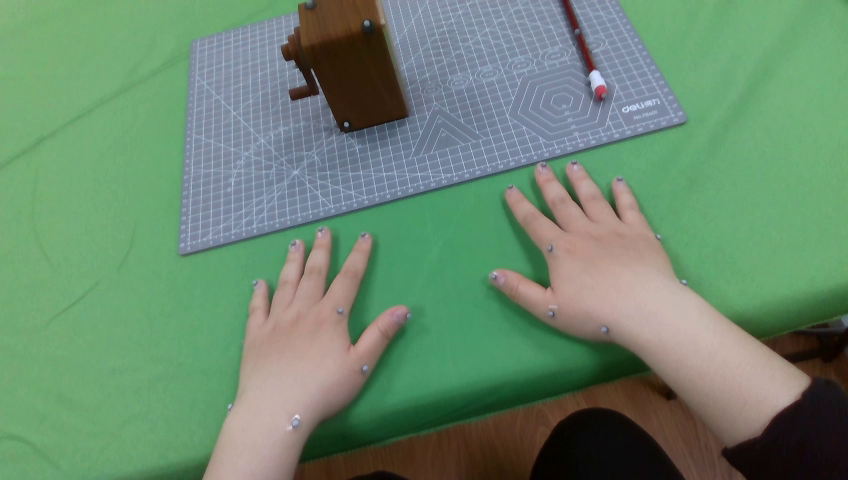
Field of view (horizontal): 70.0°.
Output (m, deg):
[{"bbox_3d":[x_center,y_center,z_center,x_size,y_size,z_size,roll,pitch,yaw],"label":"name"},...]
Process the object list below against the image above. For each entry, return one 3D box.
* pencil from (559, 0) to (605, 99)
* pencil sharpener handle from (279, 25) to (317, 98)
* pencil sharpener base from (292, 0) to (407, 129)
[{"bbox_3d":[0.144,-0.204,0.583,0.012,0.012,0.192,-11,56,5],"label":"pencil"},{"bbox_3d":[-0.116,-0.153,0.533,0.030,0.068,0.035,-15,56,3],"label":"pencil sharpener handle"},{"bbox_3d":[-0.064,-0.160,0.540,0.076,0.108,0.060,-15,56,3],"label":"pencil sharpener base"}]
